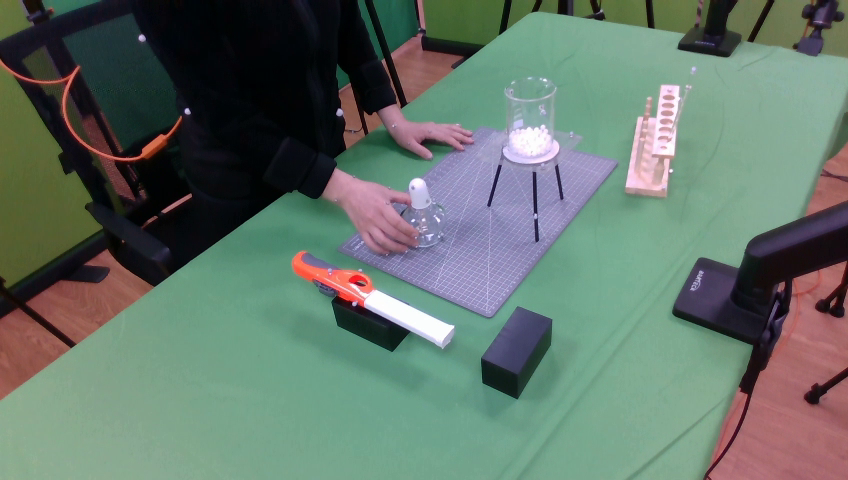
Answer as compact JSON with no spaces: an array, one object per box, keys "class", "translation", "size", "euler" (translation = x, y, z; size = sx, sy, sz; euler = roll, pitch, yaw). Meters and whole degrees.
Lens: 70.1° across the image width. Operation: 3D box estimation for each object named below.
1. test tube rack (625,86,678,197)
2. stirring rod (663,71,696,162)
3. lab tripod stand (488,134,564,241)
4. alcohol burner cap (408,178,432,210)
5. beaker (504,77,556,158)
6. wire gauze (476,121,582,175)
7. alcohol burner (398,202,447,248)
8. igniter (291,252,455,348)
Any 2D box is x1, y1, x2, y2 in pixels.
[{"class":"test tube rack","translation":[0.412,-0.184,1.088],"size":[0.066,0.085,0.242],"euler":[9,43,18]},{"class":"stirring rod","translation":[0.410,-0.195,0.981],"size":[0.014,0.177,0.006],"euler":[12,50,14]},{"class":"lab tripod stand","translation":[0.168,-0.092,0.972],"size":[0.148,0.132,0.147],"euler":[-5,41,5]},{"class":"alcohol burner cap","translation":[-0.008,-0.073,0.933],"size":[0.034,0.048,0.033],"euler":[-8,41,7]},{"class":"beaker","translation":[0.160,-0.181,0.900],"size":[0.084,0.101,0.073],"euler":[-32,46,-27]},{"class":"wire gauze","translation":[0.162,-0.142,0.929],"size":[0.120,0.011,0.125],"euler":[19,49,32]},{"class":"alcohol burner","translation":[-0.004,-0.046,0.956],"size":[0.078,0.119,0.077],"euler":[-5,42,5]},{"class":"igniter","translation":[-0.080,0.076,0.822],"size":[0.274,0.025,0.057],"euler":[23,46,27]}]
